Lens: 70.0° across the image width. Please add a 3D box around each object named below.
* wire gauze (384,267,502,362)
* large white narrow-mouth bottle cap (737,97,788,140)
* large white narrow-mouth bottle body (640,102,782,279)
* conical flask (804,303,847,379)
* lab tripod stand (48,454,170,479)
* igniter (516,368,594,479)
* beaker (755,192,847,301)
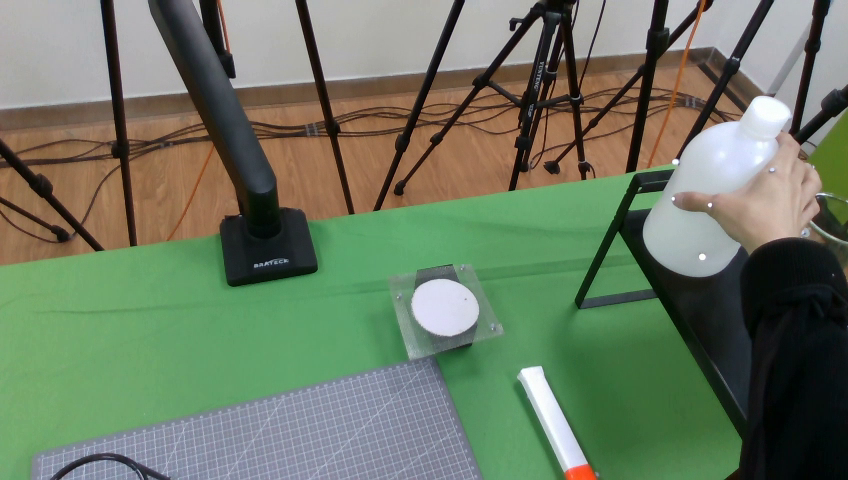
[{"bbox_3d":[0.021,0.086,0.757,0.122,0.011,0.123,-9,51,-16],"label":"wire gauze"},{"bbox_3d":[0.309,-0.112,0.556,0.038,0.024,0.037,4,48,-4],"label":"large white narrow-mouth bottle cap"},{"bbox_3d":[0.300,-0.054,0.620,0.102,0.196,0.101,4,48,-4],"label":"large white narrow-mouth bottle body"},{"bbox_3d":[0.429,0.074,0.575,0.075,0.123,0.074,4,48,-4],"label":"conical flask"},{"bbox_3d":[-0.275,0.261,0.536,0.148,0.132,0.147,6,48,-6],"label":"lab tripod stand"},{"bbox_3d":[0.170,0.266,0.673,0.057,0.025,0.273,-2,48,-24],"label":"igniter"},{"bbox_3d":[0.408,0.009,0.644,0.074,0.101,0.083,-4,49,-12],"label":"beaker"}]
